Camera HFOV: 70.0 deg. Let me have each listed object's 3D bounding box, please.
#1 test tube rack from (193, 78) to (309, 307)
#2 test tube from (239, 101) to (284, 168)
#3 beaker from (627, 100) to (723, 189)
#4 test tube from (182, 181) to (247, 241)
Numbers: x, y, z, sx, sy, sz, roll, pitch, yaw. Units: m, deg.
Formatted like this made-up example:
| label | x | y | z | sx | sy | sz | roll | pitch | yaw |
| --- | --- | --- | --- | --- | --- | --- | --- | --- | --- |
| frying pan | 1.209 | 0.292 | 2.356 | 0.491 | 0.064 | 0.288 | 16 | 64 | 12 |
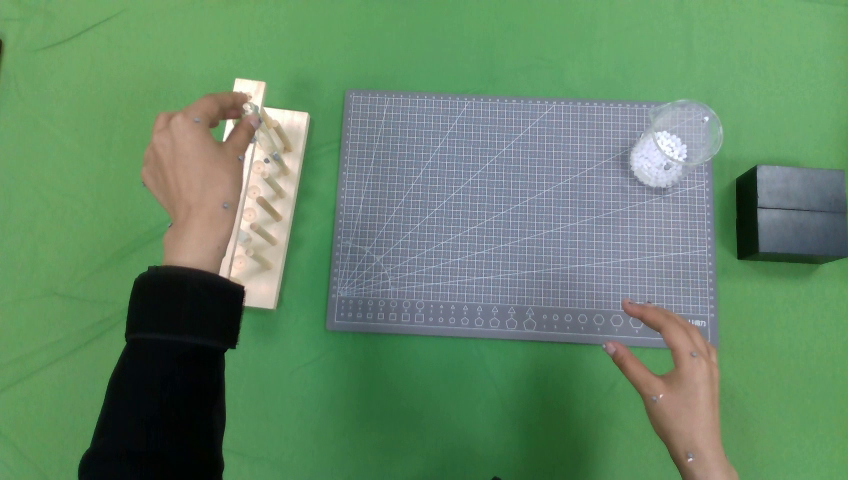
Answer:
| label | x | y | z | sx | sy | sz | roll | pitch | yaw |
| --- | --- | --- | --- | --- | --- | --- | --- | --- | --- |
| test tube rack | -0.192 | -0.051 | 0.690 | 0.067 | 0.085 | 0.241 | 7 | 79 | 2 |
| test tube | -0.167 | -0.107 | 0.630 | 0.017 | 0.151 | 0.017 | 1 | 77 | -2 |
| beaker | 0.276 | -0.105 | 0.687 | 0.084 | 0.100 | 0.074 | 34 | 81 | 9 |
| test tube | -0.215 | -0.026 | 0.636 | 0.017 | 0.151 | 0.017 | -1 | 73 | 2 |
